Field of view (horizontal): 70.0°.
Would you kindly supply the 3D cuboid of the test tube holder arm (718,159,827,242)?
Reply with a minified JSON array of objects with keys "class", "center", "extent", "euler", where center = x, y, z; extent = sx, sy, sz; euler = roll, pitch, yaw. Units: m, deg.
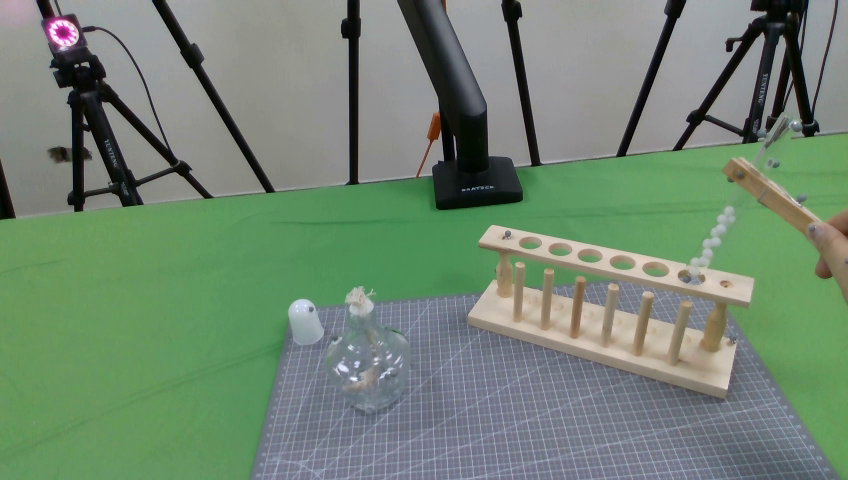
[{"class":"test tube holder arm","center":[0.264,-0.031,0.461],"extent":[0.010,0.015,0.087],"euler":[-22,57,-38]}]

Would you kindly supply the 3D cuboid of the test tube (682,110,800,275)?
[{"class":"test tube","center":[0.249,-0.032,0.484],"extent":[0.017,0.151,0.017],"euler":[14,31,-8]}]

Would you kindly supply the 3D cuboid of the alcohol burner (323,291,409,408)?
[{"class":"alcohol burner","center":[-0.052,0.090,0.530],"extent":[0.078,0.120,0.077],"euler":[-3,36,2]}]

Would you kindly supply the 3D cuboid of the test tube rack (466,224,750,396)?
[{"class":"test tube rack","center":[0.160,0.058,0.567],"extent":[0.241,0.086,0.066],"euler":[13,39,26]}]

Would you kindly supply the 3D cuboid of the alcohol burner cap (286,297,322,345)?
[{"class":"alcohol burner cap","center":[-0.124,0.080,0.620],"extent":[0.034,0.048,0.033],"euler":[-3,35,2]}]

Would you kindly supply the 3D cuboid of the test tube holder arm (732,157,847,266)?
[{"class":"test tube holder arm","center":[0.294,-0.002,0.443],"extent":[0.013,0.015,0.176],"euler":[-16,53,-34]}]
